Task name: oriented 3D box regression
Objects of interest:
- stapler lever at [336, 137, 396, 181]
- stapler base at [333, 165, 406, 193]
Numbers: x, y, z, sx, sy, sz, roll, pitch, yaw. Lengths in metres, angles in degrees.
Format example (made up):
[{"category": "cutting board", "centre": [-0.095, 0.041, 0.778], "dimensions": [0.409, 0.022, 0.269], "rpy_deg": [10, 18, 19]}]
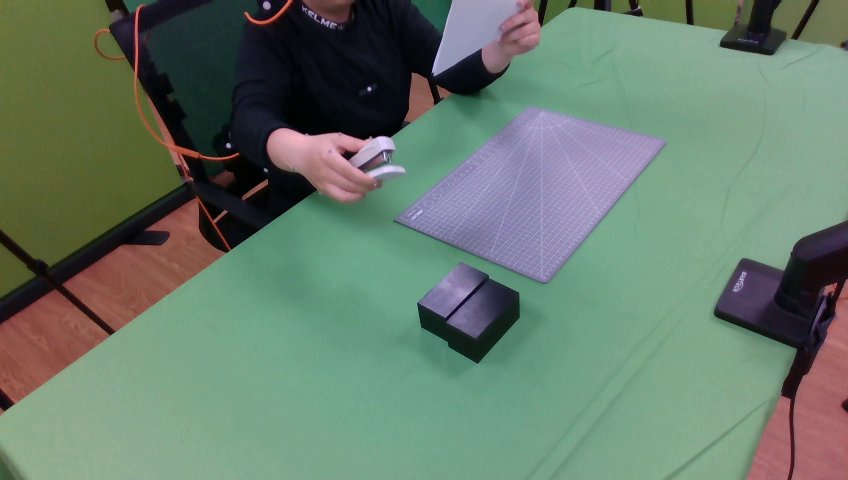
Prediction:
[{"category": "stapler lever", "centre": [-0.086, -0.117, 0.886], "dimensions": [0.117, 0.040, 0.027], "rpy_deg": [-14, -9, 43]}, {"category": "stapler base", "centre": [-0.081, -0.094, 0.884], "dimensions": [0.130, 0.024, 0.042], "rpy_deg": [-16, -10, 43]}]
